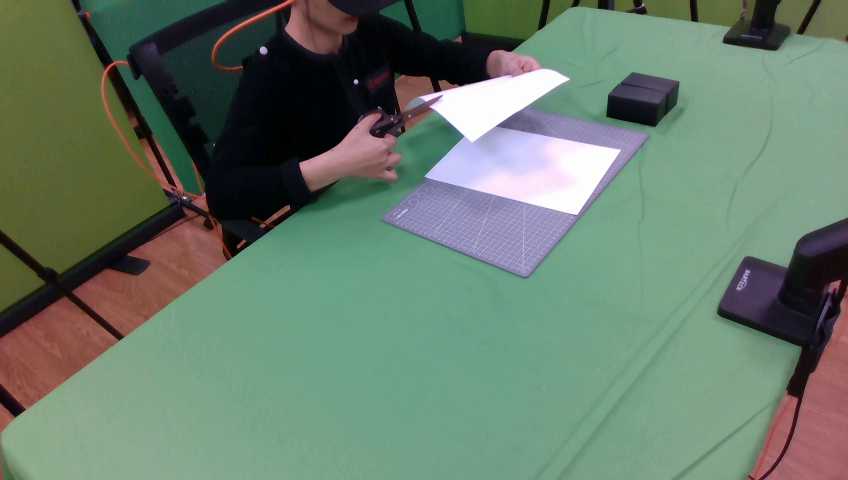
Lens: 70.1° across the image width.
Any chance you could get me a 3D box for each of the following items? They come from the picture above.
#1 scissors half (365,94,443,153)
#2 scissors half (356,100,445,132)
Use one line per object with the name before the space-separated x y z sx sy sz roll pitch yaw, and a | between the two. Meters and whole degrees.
scissors half | -0.035 -0.218 1.118 0.175 0.040 0.012 -38 35 -1
scissors half | -0.042 -0.234 1.105 0.176 0.040 0.012 -17 36 -17
